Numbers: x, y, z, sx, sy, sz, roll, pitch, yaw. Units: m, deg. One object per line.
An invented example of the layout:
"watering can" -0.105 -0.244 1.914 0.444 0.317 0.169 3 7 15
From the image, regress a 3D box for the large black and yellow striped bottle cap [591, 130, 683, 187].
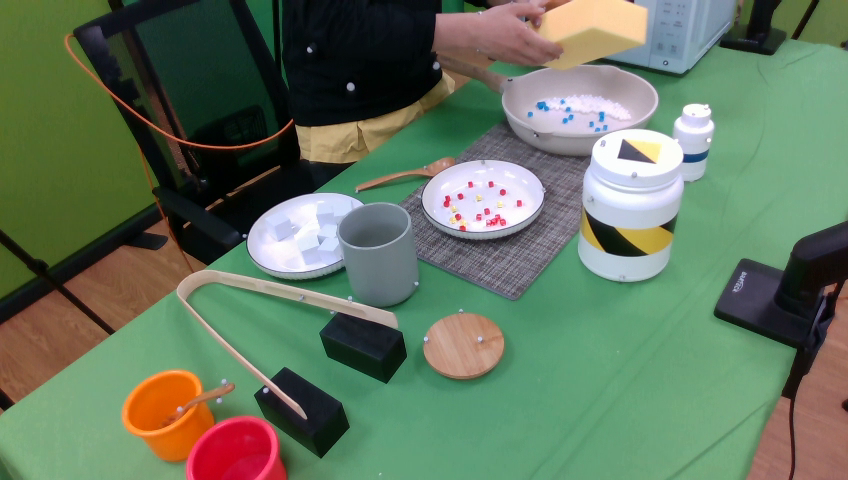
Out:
"large black and yellow striped bottle cap" 0.282 -0.111 0.803 0.115 0.019 0.114 -3 41 3

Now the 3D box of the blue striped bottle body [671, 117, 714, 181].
"blue striped bottle body" 0.450 -0.165 1.022 0.063 0.121 0.063 -5 41 5

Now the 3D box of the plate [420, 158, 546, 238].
"plate" 0.099 -0.067 1.017 0.209 0.038 0.208 -4 40 4

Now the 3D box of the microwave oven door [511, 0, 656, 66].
"microwave oven door" 0.351 -0.540 1.349 0.353 0.245 0.039 24 50 31

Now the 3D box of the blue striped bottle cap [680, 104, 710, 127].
"blue striped bottle cap" 0.443 -0.205 0.989 0.044 0.021 0.044 -1 42 2

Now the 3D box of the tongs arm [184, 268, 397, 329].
"tongs arm" -0.202 0.084 0.848 0.382 0.027 0.051 11 45 35

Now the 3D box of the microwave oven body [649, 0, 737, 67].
"microwave oven body" 0.475 -0.602 1.411 0.438 0.261 0.327 23 50 32

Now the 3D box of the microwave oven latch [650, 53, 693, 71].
"microwave oven latch" 0.531 -0.386 1.301 0.078 0.029 0.030 25 51 33

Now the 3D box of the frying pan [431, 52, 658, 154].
"frying pan" 0.216 -0.302 1.223 0.484 0.103 0.308 29 49 24

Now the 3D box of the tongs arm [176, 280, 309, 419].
"tongs arm" -0.254 0.133 0.801 0.028 0.028 0.384 -41 41 -23

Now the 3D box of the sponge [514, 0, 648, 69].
"sponge" 0.270 -0.363 1.063 0.119 0.061 0.205 5 0 -31

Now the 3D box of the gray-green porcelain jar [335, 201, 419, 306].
"gray-green porcelain jar" -0.064 0.024 0.872 0.106 0.127 0.105 -4 41 4

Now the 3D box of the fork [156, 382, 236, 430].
"fork" -0.262 0.189 0.690 0.018 0.206 0.028 49 43 -7

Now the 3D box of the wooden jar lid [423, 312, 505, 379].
"wooden jar lid" 0.053 0.142 0.800 0.108 0.021 0.108 -5 39 4

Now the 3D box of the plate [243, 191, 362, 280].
"plate" -0.188 -0.005 0.992 0.207 0.039 0.206 -4 41 4

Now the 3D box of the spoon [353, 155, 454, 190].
"spoon" -0.038 -0.123 1.116 0.194 0.022 0.041 -12 57 -4

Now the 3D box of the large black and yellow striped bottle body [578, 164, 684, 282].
"large black and yellow striped bottle body" 0.292 -0.046 0.859 0.131 0.185 0.130 -4 41 4
